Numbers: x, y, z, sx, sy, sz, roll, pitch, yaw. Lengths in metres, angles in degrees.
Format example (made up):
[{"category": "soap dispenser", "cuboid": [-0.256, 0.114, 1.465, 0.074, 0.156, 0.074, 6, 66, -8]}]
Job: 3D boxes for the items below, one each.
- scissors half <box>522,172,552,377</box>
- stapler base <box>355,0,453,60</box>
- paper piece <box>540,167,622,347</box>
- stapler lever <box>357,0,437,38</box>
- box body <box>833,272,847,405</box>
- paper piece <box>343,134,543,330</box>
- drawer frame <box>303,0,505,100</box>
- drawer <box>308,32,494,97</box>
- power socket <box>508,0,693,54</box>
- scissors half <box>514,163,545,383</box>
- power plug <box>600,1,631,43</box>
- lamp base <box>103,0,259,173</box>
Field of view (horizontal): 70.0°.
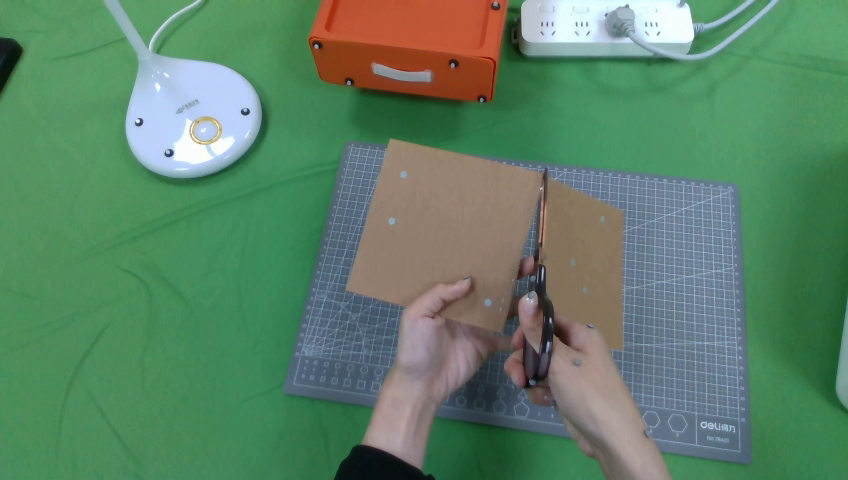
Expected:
[{"category": "scissors half", "cuboid": [0.087, 0.016, 0.453, 0.013, 0.040, 0.173, 10, 60, -5]}, {"category": "stapler base", "cuboid": [-0.026, -0.258, 0.704, 0.129, 0.024, 0.041, 37, 89, 19]}, {"category": "paper piece", "cuboid": [0.138, 0.020, 0.524, 0.004, 0.136, 0.135, -8, 73, 45]}, {"category": "stapler lever", "cuboid": [-0.035, -0.264, 0.680, 0.117, 0.040, 0.027, 37, 88, 20]}, {"category": "box body", "cuboid": [0.553, 0.017, 0.547, 0.253, 0.161, 0.362, 20, 69, 10]}, {"category": "paper piece", "cuboid": [0.014, -0.010, 0.496, 0.135, 0.009, 0.138, 15, 87, 14]}, {"category": "drawer frame", "cuboid": [-0.010, -0.278, 0.692, 0.201, 0.083, 0.212, 8, 66, 6]}, {"category": "drawer", "cuboid": [-0.008, -0.275, 0.691, 0.194, 0.074, 0.210, 8, 66, 6]}, {"category": "power socket", "cuboid": [0.219, -0.269, 0.754, 0.227, 0.033, 0.071, 2, 67, 3]}, {"category": "scissors half", "cuboid": [0.085, 0.023, 0.473, 0.013, 0.040, 0.174, 8, 81, 0]}, {"category": "power plug", "cuboid": [0.226, -0.251, 0.721, 0.035, 0.053, 0.072, 12, 68, 7]}, {"category": "lamp base", "cuboid": [-0.290, -0.189, 0.658, 0.178, 0.181, 0.160, 39, 73, 20]}]
